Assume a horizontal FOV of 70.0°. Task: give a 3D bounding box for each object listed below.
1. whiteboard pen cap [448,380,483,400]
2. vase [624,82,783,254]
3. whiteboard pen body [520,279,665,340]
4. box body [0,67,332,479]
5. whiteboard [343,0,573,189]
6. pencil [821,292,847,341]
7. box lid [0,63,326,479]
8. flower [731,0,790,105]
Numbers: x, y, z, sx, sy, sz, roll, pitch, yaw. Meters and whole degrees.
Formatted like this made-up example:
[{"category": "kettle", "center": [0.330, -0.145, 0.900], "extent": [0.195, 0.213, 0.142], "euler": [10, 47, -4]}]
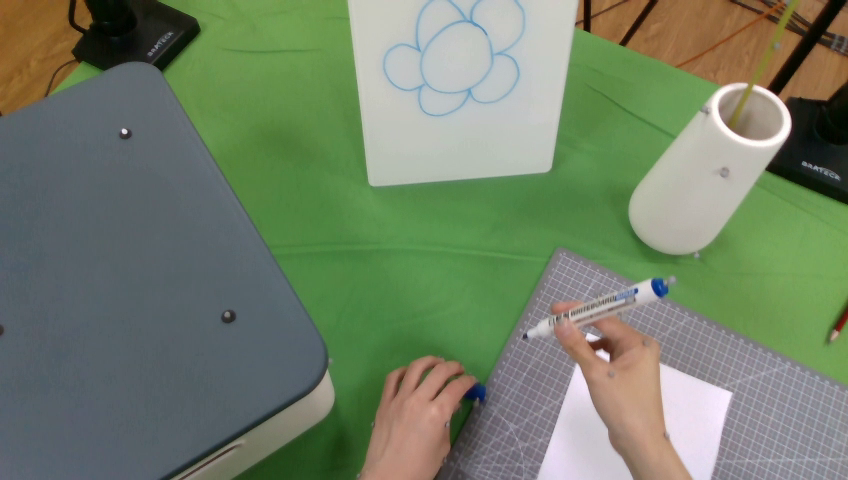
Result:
[{"category": "whiteboard pen cap", "center": [0.042, 0.148, 0.595], "extent": [0.033, 0.018, 0.018], "euler": [5, 62, 19]}, {"category": "vase", "center": [0.271, -0.066, 0.604], "extent": [0.098, 0.201, 0.097], "euler": [0, 62, 0]}, {"category": "whiteboard pen body", "center": [0.130, 0.061, 0.492], "extent": [0.017, 0.140, 0.017], "euler": [22, 54, -33]}, {"category": "box body", "center": [-0.273, 0.057, 0.549], "extent": [0.254, 0.161, 0.361], "euler": [-31, 69, -15]}, {"category": "whiteboard", "center": [0.029, -0.227, 0.651], "extent": [0.217, 0.308, 0.142], "euler": [-5, 45, -3]}, {"category": "pencil", "center": [0.480, 0.040, 0.663], "extent": [0.012, 0.012, 0.194], "euler": [39, 71, 17]}, {"category": "box lid", "center": [-0.272, 0.022, 0.483], "extent": [0.263, 0.015, 0.368], "euler": [-30, 69, -16]}, {"category": "flower", "center": [0.272, -0.117, 0.536], "extent": [0.044, 0.364, 0.038], "euler": [20, 48, 12]}]
